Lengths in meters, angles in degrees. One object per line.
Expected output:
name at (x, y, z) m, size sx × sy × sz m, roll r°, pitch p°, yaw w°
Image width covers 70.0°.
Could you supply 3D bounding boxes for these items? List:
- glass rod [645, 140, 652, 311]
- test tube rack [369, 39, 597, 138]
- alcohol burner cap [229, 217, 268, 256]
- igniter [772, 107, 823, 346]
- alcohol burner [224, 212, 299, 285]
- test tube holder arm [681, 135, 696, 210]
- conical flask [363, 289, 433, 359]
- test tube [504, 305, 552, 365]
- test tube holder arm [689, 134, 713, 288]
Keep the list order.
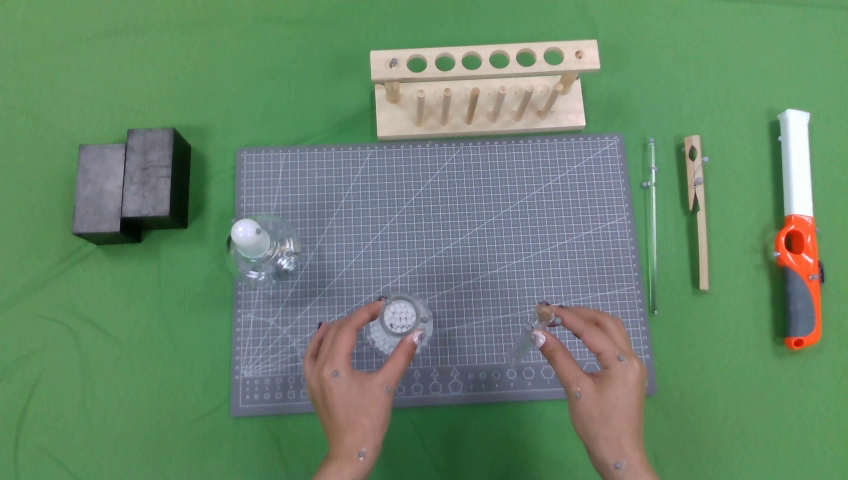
glass rod at (0.255, -0.018, 0.687) m, size 0.008 × 0.008 × 0.199 m, roll 4°, pitch 79°, yaw 0°
test tube rack at (0.063, -0.167, 0.678) m, size 0.242 × 0.085 × 0.066 m, roll -3°, pitch 77°, yaw -2°
alcohol burner cap at (-0.170, -0.006, 0.582) m, size 0.034 × 0.048 × 0.033 m, roll 1°, pitch 72°, yaw -4°
igniter at (0.417, -0.018, 0.680) m, size 0.057 × 0.025 × 0.275 m, roll 8°, pitch 77°, yaw -9°
alcohol burner at (-0.170, 0.004, 0.617) m, size 0.078 × 0.119 × 0.077 m, roll 0°, pitch 76°, yaw 1°
test tube holder arm at (0.306, -0.078, 0.698) m, size 0.010 × 0.015 × 0.087 m, roll -9°, pitch 75°, yaw 35°
conical flask at (-0.025, 0.079, 0.597) m, size 0.075 × 0.122 × 0.075 m, roll 1°, pitch 79°, yaw -3°
test tube at (0.094, 0.092, 0.563) m, size 0.017 × 0.151 × 0.017 m, roll 2°, pitch 64°, yaw -3°
test tube holder arm at (0.312, -0.035, 0.685) m, size 0.013 × 0.015 × 0.177 m, roll -11°, pitch 74°, yaw 34°
